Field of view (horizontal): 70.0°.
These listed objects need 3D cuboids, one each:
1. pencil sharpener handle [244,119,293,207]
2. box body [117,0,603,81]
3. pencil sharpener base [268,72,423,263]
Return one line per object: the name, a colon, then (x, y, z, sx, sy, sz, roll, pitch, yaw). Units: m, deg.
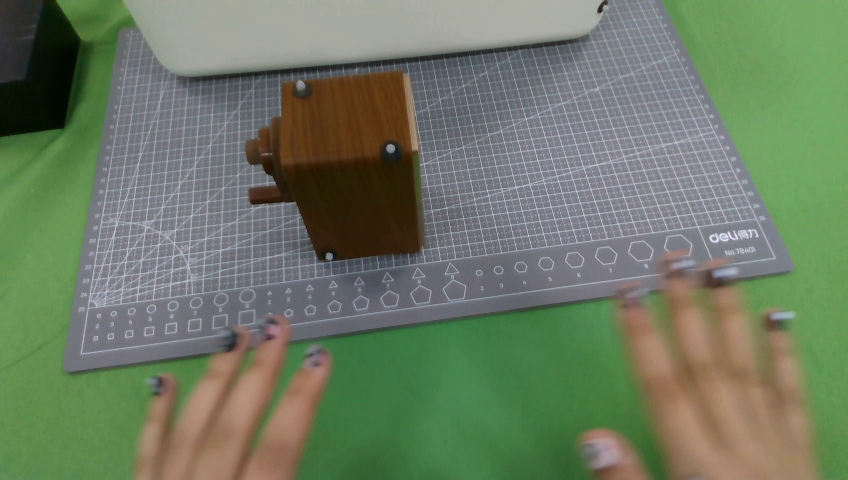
pencil sharpener handle: (-0.094, -0.039, 0.346, 0.030, 0.068, 0.035, -6, 62, -1)
box body: (-0.048, -0.275, 0.468, 0.364, 0.162, 0.251, -7, 59, -3)
pencil sharpener base: (-0.042, -0.038, 0.359, 0.077, 0.108, 0.061, -6, 60, -2)
